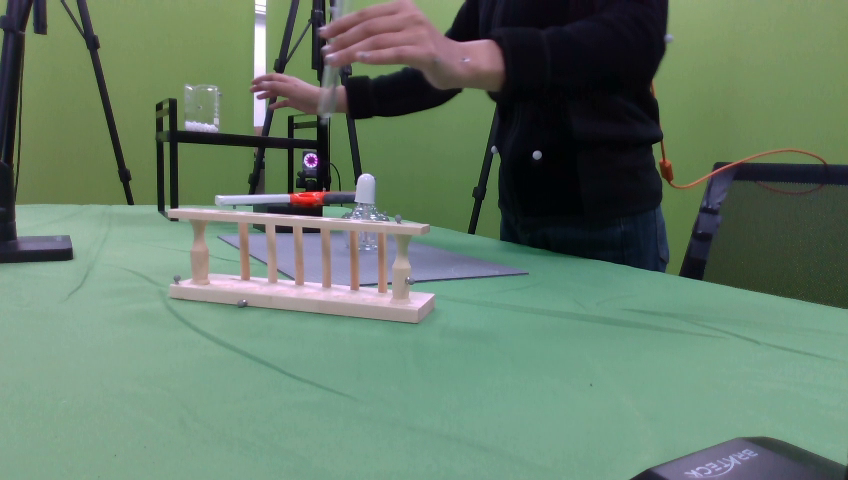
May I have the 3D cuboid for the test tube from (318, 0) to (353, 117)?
[{"bbox_3d":[-0.092,-0.205,0.643,0.017,0.150,0.017,11,3,0],"label":"test tube"}]

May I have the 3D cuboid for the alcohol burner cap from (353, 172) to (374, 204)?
[{"bbox_3d":[-0.092,-0.081,0.935,0.034,0.048,0.034,6,10,-1],"label":"alcohol burner cap"}]

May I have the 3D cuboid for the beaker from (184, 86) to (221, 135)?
[{"bbox_3d":[-0.476,-0.277,1.296,0.074,0.100,0.084,2,8,-1],"label":"beaker"}]

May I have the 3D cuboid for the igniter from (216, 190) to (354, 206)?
[{"bbox_3d":[-0.248,-0.079,1.151,0.278,0.025,0.057,-4,10,-27],"label":"igniter"}]

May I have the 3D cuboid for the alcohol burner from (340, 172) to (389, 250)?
[{"bbox_3d":[-0.094,-0.045,0.939,0.078,0.119,0.078,0,7,0],"label":"alcohol burner"}]

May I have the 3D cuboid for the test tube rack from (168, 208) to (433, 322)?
[{"bbox_3d":[-0.116,0.018,0.574,0.242,0.085,0.067,4,8,13],"label":"test tube rack"}]
